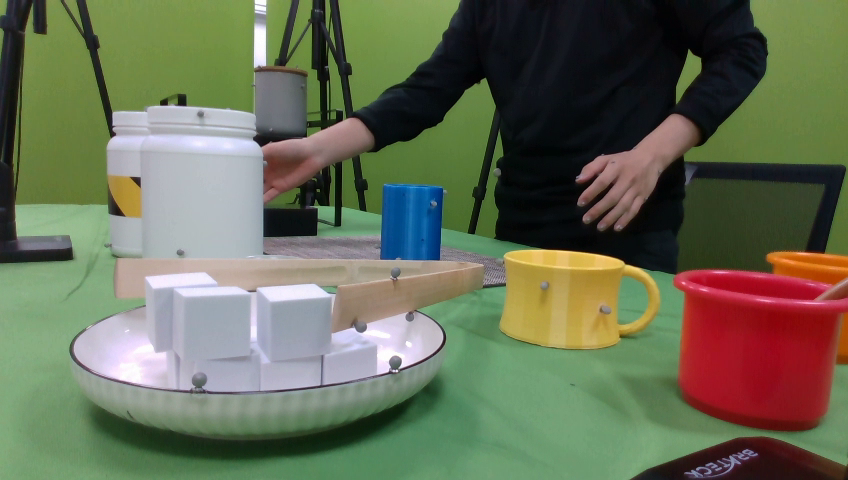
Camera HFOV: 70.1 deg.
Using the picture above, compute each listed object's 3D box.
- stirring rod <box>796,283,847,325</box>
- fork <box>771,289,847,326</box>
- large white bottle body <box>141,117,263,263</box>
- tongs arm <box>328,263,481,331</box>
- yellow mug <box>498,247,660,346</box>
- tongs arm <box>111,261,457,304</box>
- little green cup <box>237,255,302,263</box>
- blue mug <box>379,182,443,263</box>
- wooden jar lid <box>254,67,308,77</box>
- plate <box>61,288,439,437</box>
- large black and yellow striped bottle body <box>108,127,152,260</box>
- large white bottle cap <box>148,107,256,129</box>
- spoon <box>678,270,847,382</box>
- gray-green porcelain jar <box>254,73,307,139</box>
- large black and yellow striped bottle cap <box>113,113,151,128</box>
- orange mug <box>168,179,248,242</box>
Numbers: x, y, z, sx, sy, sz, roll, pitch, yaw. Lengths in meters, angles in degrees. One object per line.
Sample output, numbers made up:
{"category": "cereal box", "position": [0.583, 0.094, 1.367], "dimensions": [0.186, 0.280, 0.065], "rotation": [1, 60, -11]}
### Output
{"category": "stirring rod", "position": [0.347, 0.019, 0.460], "dimensions": [0.014, 0.176, 0.006], "rotation": [-17, 59, -26]}
{"category": "fork", "position": [0.335, 0.018, 0.443], "dimensions": [0.028, 0.018, 0.207], "rotation": [-2, -36, -20]}
{"category": "large white bottle body", "position": [-0.254, -0.054, 0.697], "dimensions": [0.131, 0.184, 0.130], "rotation": [2, 7, 0]}
{"category": "tongs arm", "position": [-0.003, 0.036, 0.492], "dimensions": [0.050, 0.026, 0.386], "rotation": [1, -1, 19]}
{"category": "yellow mug", "position": [0.130, 0.045, 0.508], "dimensions": [0.131, 0.064, 0.100], "rotation": [4, 7, 6]}
{"category": "tongs arm", "position": [-0.080, 0.032, 0.527], "dimensions": [0.028, 0.027, 0.389], "rotation": [-3, -4, 33]}
{"category": "little green cup", "position": [-0.150, 0.038, 0.590], "dimensions": [0.061, 0.038, 0.061], "rotation": [3, 6, 0]}
{"category": "blue mug", "position": [-0.020, -0.026, 0.833], "dimensions": [0.082, 0.106, 0.116], "rotation": [1, 7, -7]}
{"category": "wooden jar lid", "position": [-0.296, -0.339, 1.251], "dimensions": [0.108, 0.020, 0.108], "rotation": [2, 7, 0]}
{"category": "plate", "position": [-0.095, 0.069, 0.362], "dimensions": [0.208, 0.039, 0.207], "rotation": [3, 7, 0]}
{"category": "large black and yellow striped bottle body", "position": [-0.350, -0.071, 0.812], "dimensions": [0.131, 0.184, 0.130], "rotation": [2, 7, 0]}
{"category": "large white bottle cap", "position": [-0.250, -0.137, 0.686], "dimensions": [0.115, 0.018, 0.115], "rotation": [2, 8, 0]}
{"category": "spoon", "position": [0.229, 0.031, 0.338], "dimensions": [0.193, 0.021, 0.042], "rotation": [-44, -16, 27]}
{"category": "gray-green porcelain jar", "position": [-0.298, -0.277, 1.259], "dimensions": [0.106, 0.126, 0.106], "rotation": [3, 7, 0]}
{"category": "large black and yellow striped bottle cap", "position": [-0.348, -0.154, 0.800], "dimensions": [0.115, 0.019, 0.115], "rotation": [2, 6, 0]}
{"category": "orange mug", "position": [-0.351, -0.050, 0.986], "dimensions": [0.126, 0.101, 0.083], "rotation": [-3, 8, -9]}
